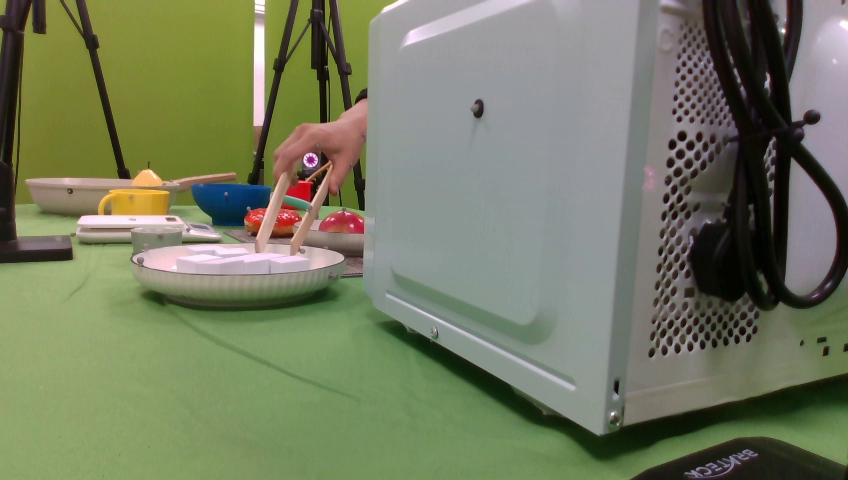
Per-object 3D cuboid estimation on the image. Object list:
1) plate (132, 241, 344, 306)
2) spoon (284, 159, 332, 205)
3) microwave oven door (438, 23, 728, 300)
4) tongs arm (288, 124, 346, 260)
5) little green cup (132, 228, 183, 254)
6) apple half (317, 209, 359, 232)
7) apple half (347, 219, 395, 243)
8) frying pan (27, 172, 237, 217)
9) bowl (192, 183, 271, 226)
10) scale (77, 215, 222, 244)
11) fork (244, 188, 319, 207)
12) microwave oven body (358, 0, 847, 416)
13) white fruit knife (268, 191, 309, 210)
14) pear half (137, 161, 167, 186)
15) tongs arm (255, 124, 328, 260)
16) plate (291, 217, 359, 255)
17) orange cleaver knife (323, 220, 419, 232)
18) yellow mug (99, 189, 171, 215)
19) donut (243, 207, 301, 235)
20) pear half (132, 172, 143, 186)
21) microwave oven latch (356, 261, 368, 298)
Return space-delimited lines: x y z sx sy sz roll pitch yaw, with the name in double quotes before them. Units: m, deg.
"plate" -0.187 0.033 0.625 0.208 0.039 0.207 2 8 0
"spoon" -0.317 -0.159 1.640 0.194 0.022 0.041 -49 32 -20
"microwave oven door" 0.181 -0.073 0.621 0.358 0.243 0.039 -2 8 -29
"tongs arm" -0.145 -0.081 0.795 0.051 0.026 0.384 2 29 4
"little green cup" -0.342 0.006 0.779 0.061 0.038 0.061 2 8 0
"apple half" -0.122 -0.020 0.900 0.080 0.053 0.075 4 11 15
"apple half" -0.084 -0.018 0.967 0.081 0.033 0.081 6 10 -1
"frying pan" -0.624 -0.118 1.387 0.305 0.102 0.490 8 17 32
"bowl" -0.382 -0.071 1.202 0.151 0.077 0.151 3 7 0
"scale" -0.434 -0.019 0.963 0.202 0.031 0.148 -1 9 -27
"fork" -0.356 -0.105 1.526 0.208 0.018 0.028 16 -6 -41
"microwave oven body" 0.211 -0.047 0.475 0.444 0.260 0.324 -1 7 -28
"white fruit knife" -0.364 -0.105 1.464 0.208 0.027 0.016 15 0 -34
"pear half" -0.602 -0.120 1.354 0.056 0.110 0.076 4 11 6
"tongs arm" -0.168 -0.082 0.795 0.028 0.028 0.387 -3 28 2
"plate" -0.098 -0.007 0.928 0.209 0.038 0.209 3 8 0
"orange cleaver knife" -0.097 -0.027 1.152 0.077 0.012 0.212 2 7 41
"yellow mug" -0.519 -0.055 1.080 0.099 0.064 0.131 7 9 26
"donut" -0.261 -0.032 1.043 0.099 0.048 0.099 3 9 0
"pear half" -0.638 -0.113 1.361 0.031 0.088 0.070 5 11 4
"microwave oven latch" -0.019 0.033 0.530 0.079 0.029 0.030 0 7 -26
